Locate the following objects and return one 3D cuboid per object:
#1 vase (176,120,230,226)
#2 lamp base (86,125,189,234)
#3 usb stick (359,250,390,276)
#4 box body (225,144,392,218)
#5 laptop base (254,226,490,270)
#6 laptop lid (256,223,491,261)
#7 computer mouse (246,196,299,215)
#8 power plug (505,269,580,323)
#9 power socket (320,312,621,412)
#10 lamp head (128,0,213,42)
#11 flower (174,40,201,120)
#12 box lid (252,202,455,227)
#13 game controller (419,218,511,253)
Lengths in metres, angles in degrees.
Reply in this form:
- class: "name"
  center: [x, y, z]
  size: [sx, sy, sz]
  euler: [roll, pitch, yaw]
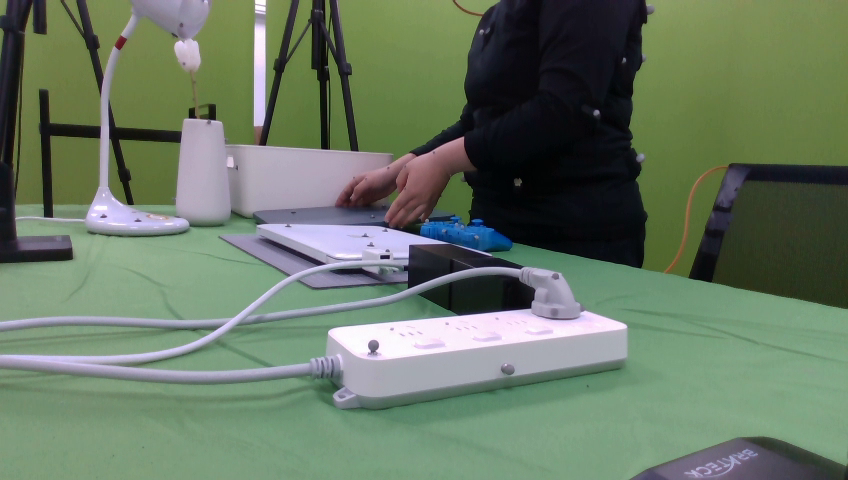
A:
- class: "vase"
  center: [-0.425, -0.128, 1.159]
  size: [0.098, 0.200, 0.098]
  euler: [2, 9, 0]
- class: "lamp base"
  center: [-0.497, -0.105, 1.027]
  size: [0.179, 0.180, 0.160]
  euler: [1, 7, 3]
- class: "usb stick"
  center: [-0.061, 0.026, 0.709]
  size: [0.021, 0.027, 0.059]
  euler: [-2, 3, -29]
- class: "box body"
  center: [-0.289, -0.143, 1.475]
  size: [0.366, 0.160, 0.253]
  euler: [-1, 9, -29]
- class: "laptop base"
  center: [-0.095, 0.011, 0.912]
  size: [0.237, 0.023, 0.352]
  euler: [3, 6, -32]
- class: "laptop lid"
  center: [-0.092, 0.000, 0.912]
  size: [0.243, 0.013, 0.355]
  euler: [1, 7, -30]
- class: "computer mouse"
  center: [-0.355, -0.082, 1.418]
  size: [0.117, 0.041, 0.063]
  euler: [0, 9, 7]
- class: "power plug"
  center: [0.092, 0.051, 0.470]
  size: [0.035, 0.052, 0.072]
  euler: [0, 6, -16]
- class: "power socket"
  center: [0.038, 0.075, 0.410]
  size: [0.228, 0.032, 0.072]
  euler: [-2, 8, -29]
- class: "lamp head"
  center: [-0.423, -0.394, 0.980]
  size: [0.123, 0.112, 0.112]
  euler: [20, 7, -3]
- class: "flower"
  center: [-0.430, -0.211, 1.165]
  size: [0.044, 0.361, 0.038]
  euler: [-10, -5, -23]
- class: "box lid"
  center: [-0.151, -0.049, 1.241]
  size: [0.373, 0.015, 0.262]
  euler: [-5, 11, -26]
- class: "game controller"
  center: [0.063, -0.009, 1.028]
  size: [0.154, 0.051, 0.097]
  euler: [9, 15, 43]
